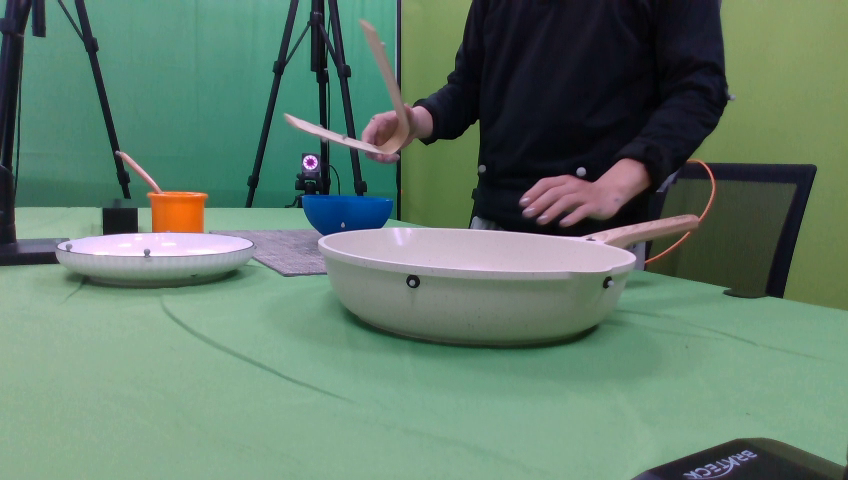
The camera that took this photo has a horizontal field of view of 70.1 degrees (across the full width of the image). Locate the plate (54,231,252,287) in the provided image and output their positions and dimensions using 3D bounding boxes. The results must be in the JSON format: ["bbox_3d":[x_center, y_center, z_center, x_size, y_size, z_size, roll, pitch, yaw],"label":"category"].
[{"bbox_3d":[-0.309,0.020,0.705,0.208,0.039,0.207,2,7,0],"label":"plate"}]

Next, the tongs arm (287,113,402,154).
[{"bbox_3d":[-0.100,-0.159,0.887,0.026,0.050,0.385,38,8,8],"label":"tongs arm"}]

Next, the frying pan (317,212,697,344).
[{"bbox_3d":[0.133,0.013,0.629,0.490,0.102,0.305,-12,14,-31],"label":"frying pan"}]

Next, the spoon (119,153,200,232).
[{"bbox_3d":[-0.439,-0.077,1.000,0.021,0.193,0.042,-43,-7,21],"label":"spoon"}]

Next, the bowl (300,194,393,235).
[{"bbox_3d":[-0.128,-0.034,0.995,0.151,0.077,0.151,2,7,0],"label":"bowl"}]

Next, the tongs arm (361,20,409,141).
[{"bbox_3d":[-0.051,-0.218,0.881,0.028,0.028,0.388,35,-4,7],"label":"tongs arm"}]
